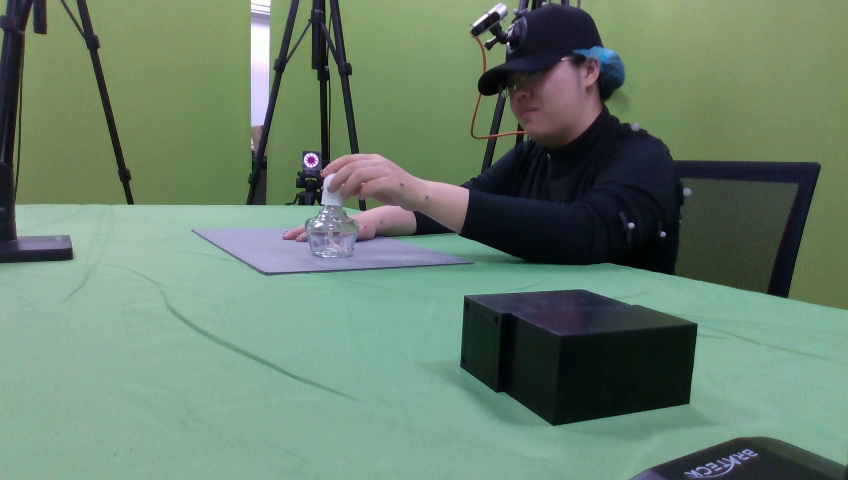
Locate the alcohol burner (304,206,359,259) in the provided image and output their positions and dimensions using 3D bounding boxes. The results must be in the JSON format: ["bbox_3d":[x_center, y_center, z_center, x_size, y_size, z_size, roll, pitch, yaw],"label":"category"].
[{"bbox_3d":[-0.130,-0.034,0.851,0.078,0.119,0.078,2,5,0],"label":"alcohol burner"}]

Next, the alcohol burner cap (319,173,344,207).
[{"bbox_3d":[-0.129,-0.070,0.848,0.034,0.048,0.034,4,4,0],"label":"alcohol burner cap"}]
